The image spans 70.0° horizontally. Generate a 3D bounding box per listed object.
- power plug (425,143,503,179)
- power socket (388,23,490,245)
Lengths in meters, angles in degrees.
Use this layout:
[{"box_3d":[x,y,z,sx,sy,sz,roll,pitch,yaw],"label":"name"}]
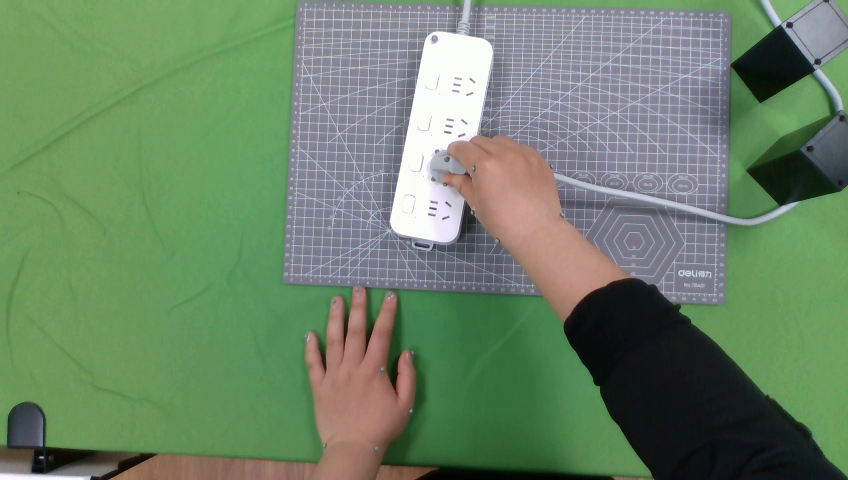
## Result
[{"box_3d":[0.036,-0.070,0.591,0.072,0.053,0.035,24,88,3],"label":"power plug"},{"box_3d":[0.015,-0.108,0.612,0.072,0.032,0.226,10,88,3],"label":"power socket"}]
